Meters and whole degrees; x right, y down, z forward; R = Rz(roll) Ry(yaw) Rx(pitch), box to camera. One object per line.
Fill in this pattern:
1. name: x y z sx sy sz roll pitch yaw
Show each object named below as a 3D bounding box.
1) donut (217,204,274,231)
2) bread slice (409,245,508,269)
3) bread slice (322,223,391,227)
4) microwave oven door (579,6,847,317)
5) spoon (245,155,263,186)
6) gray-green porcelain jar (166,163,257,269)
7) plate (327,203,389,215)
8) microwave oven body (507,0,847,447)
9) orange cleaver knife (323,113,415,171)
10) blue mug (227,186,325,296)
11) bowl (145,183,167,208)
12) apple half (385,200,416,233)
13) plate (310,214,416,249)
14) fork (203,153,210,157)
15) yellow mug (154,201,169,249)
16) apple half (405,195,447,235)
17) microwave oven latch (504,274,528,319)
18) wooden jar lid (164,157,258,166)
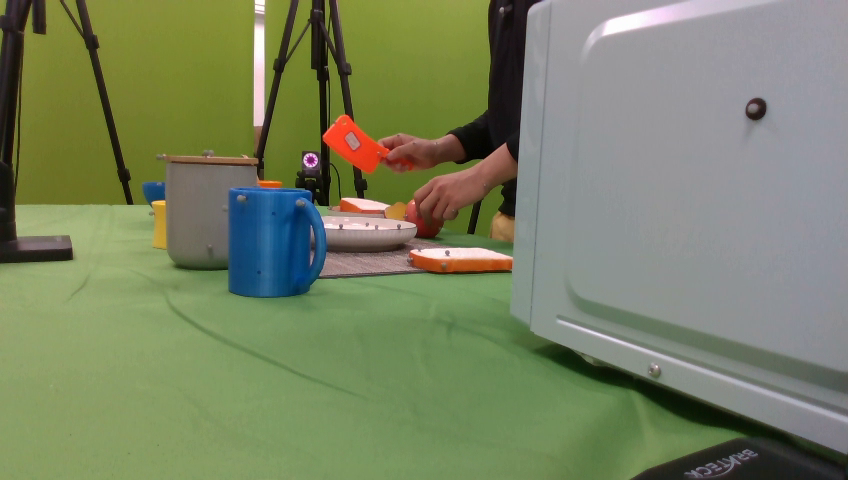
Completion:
1. donut: -0.317 -0.038 1.080 0.099 0.048 0.099 3 7 0
2. bread slice: 0.048 0.021 0.816 0.132 0.019 0.104 0 7 -24
3. bread slice: -0.116 -0.014 0.974 0.135 0.018 0.106 -6 11 -42
4. microwave oven door: 0.294 -0.067 0.570 0.358 0.243 0.039 -3 9 -31
5. spoon: -0.421 -0.150 1.540 0.042 0.021 0.193 -5 55 -37
6. gray-green porcelain jar: -0.263 -0.031 0.754 0.106 0.126 0.106 2 7 0
7. plate: -0.102 -0.053 1.299 0.209 0.038 0.209 2 8 0
8. microwave oven body: 0.331 -0.042 0.425 0.444 0.260 0.324 -2 8 -31
9. orange cleaver knife: -0.106 -0.178 1.204 0.212 0.077 0.012 27 -4 -38
10. blue mug: -0.146 0.000 0.618 0.116 0.106 0.083 7 9 32
11. bowl: -0.459 -0.068 1.175 0.151 0.077 0.151 3 7 0
12. apple half: -0.045 -0.038 1.175 0.082 0.081 0.032 -6 -28 -44
13. plate: -0.117 -0.014 0.967 0.208 0.039 0.207 2 7 0
14. fork: -0.480 -0.135 1.411 0.028 0.018 0.207 1 -34 -1
15. yellow mug: -0.337 -0.022 0.899 0.130 0.064 0.100 8 9 34
16. apple half: 0.011 -0.046 1.138 0.081 0.074 0.053 -2 16 -42
17. microwave oven latch: 0.100 0.041 0.470 0.079 0.029 0.030 -1 7 -27
18. wooden jar lid: -0.261 -0.093 0.746 0.108 0.020 0.108 0 9 0
